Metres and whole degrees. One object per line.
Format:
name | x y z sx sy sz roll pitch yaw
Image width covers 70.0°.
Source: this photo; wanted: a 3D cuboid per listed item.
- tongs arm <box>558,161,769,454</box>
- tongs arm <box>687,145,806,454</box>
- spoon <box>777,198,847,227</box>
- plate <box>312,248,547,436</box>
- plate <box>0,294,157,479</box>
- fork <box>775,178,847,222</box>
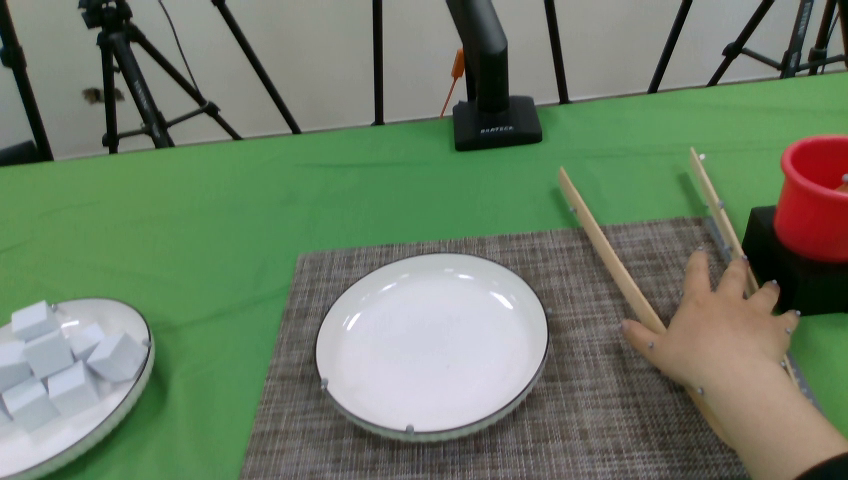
tongs arm | 0.199 0.032 0.580 0.028 0.028 0.383 -8 40 -7
tongs arm | 0.281 0.023 0.576 0.051 0.027 0.381 -2 41 6
spoon | 0.366 -0.043 0.469 0.041 0.194 0.021 -28 85 -28
plate | 0.005 0.089 0.546 0.207 0.039 0.205 -5 40 5
plate | -0.351 0.135 0.564 0.209 0.038 0.207 -5 39 5
fork | 0.394 -0.072 0.499 0.207 0.019 0.028 -39 7 28
